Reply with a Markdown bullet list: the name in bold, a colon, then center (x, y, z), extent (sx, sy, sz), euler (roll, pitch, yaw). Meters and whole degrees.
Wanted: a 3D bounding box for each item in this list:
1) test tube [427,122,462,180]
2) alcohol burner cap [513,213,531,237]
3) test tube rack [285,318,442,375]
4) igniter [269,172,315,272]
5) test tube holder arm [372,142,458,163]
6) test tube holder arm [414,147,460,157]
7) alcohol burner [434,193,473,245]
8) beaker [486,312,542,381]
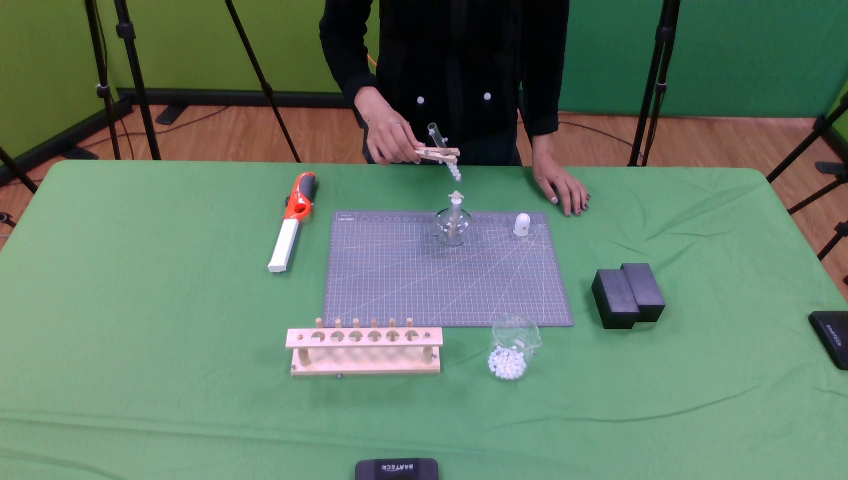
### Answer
- **test tube**: center (0.039, -0.151, 1.052), extent (0.017, 0.151, 0.017), euler (-11, 56, 17)
- **alcohol burner cap**: center (0.200, -0.034, 1.227), extent (0.034, 0.048, 0.033), euler (1, 46, -1)
- **test tube rack**: center (-0.095, 0.168, 0.986), extent (0.242, 0.085, 0.066), euler (0, 46, -4)
- **igniter**: center (-0.263, -0.045, 1.219), extent (0.057, 0.025, 0.275), euler (-2, 45, 8)
- **test tube holder arm**: center (-0.020, -0.158, 1.086), extent (0.178, 0.015, 0.013), euler (12, 60, 29)
- **test tube holder arm**: center (0.021, -0.156, 1.067), extent (0.087, 0.015, 0.010), euler (5, 57, 26)
- **alcohol burner**: center (0.059, -0.047, 1.180), extent (0.078, 0.120, 0.077), euler (1, 48, -1)
- **beaker**: center (0.144, 0.177, 0.985), extent (0.084, 0.101, 0.074), euler (22, 49, 16)
